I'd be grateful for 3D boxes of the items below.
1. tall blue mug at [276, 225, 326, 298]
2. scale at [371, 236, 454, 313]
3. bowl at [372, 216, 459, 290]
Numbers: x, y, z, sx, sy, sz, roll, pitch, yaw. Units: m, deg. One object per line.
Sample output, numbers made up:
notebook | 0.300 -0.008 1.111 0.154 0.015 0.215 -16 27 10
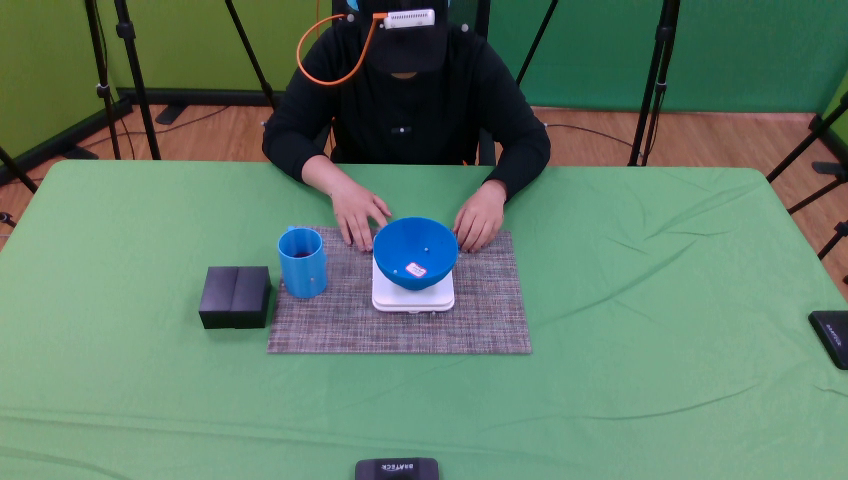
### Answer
tall blue mug | -0.228 0.033 1.083 0.107 0.108 0.077 30 52 23
scale | -0.022 0.051 1.134 0.149 0.032 0.199 1 46 -4
bowl | -0.016 0.036 1.075 0.151 0.077 0.150 2 46 -1
